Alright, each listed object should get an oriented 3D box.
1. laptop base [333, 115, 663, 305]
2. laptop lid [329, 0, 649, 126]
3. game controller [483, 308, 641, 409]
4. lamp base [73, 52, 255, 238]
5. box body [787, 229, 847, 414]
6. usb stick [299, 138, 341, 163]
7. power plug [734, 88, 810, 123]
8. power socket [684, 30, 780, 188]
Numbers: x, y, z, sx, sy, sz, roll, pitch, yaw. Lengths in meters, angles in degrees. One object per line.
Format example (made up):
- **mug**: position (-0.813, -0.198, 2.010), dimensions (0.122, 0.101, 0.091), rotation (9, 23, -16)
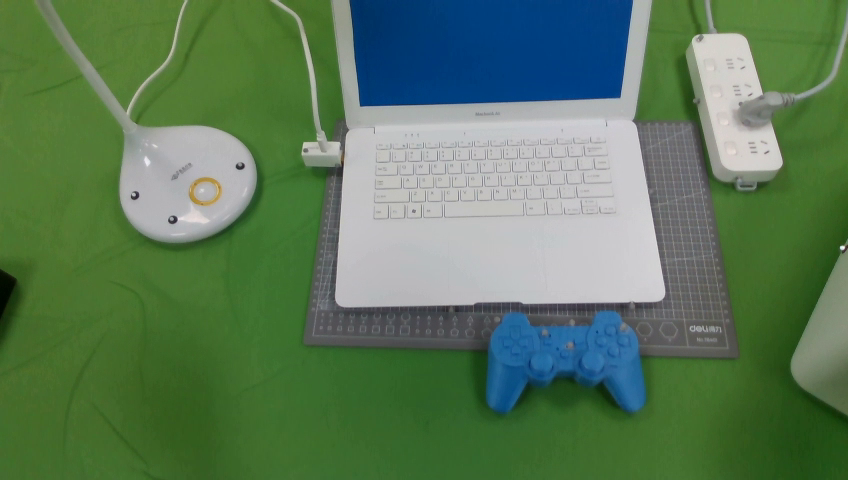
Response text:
- **laptop base**: position (0.077, -0.038, 0.696), dimensions (0.354, 0.023, 0.233), rotation (-1, 68, 2)
- **laptop lid**: position (0.072, -0.241, 0.682), dimensions (0.357, 0.244, 0.013), rotation (-3, 33, 3)
- **game controller**: position (0.136, 0.116, 0.602), dimensions (0.155, 0.052, 0.096), rotation (0, 61, 2)
- **lamp base**: position (-0.298, -0.113, 0.660), dimensions (0.178, 0.182, 0.160), rotation (26, 68, 18)
- **box body**: position (0.543, 0.035, 0.559), dimensions (0.253, 0.161, 0.363), rotation (32, 70, 17)
- **usb stick**: position (-0.117, -0.107, 0.724), dimensions (0.059, 0.027, 0.021), rotation (3, 58, 1)
- **power plug**: position (0.399, -0.149, 0.701), dimensions (0.072, 0.053, 0.035), rotation (10, 64, 6)
- **power socket**: position (0.370, -0.168, 0.737), dimensions (0.072, 0.033, 0.225), rotation (0, 64, 2)
